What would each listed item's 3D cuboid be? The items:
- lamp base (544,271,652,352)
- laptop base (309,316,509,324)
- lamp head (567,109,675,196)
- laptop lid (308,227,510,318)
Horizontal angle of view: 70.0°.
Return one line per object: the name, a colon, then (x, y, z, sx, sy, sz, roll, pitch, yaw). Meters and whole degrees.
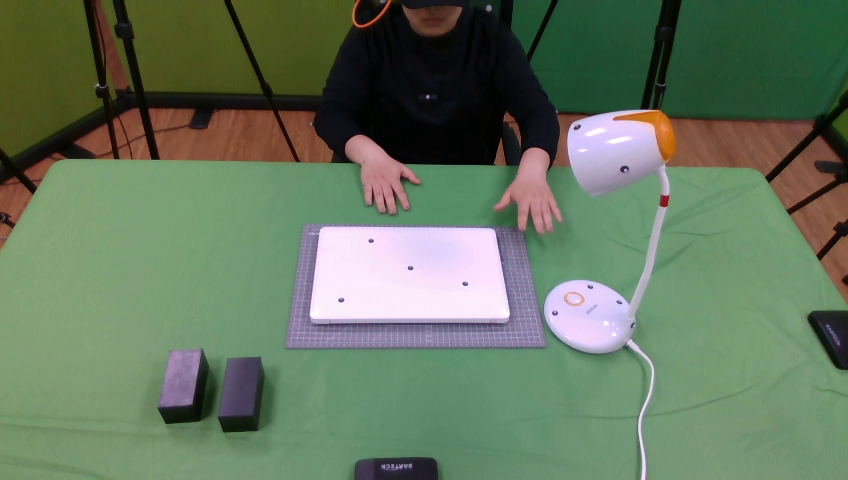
lamp base: (0.310, 0.086, 1.029, 0.178, 0.181, 0.160, 32, 52, 21)
laptop base: (-0.028, 0.064, 1.136, 0.355, 0.023, 0.234, 0, 43, -4)
lamp head: (0.272, -0.123, 0.818, 0.122, 0.113, 0.112, -9, 35, 37)
laptop lid: (-0.028, 0.055, 1.129, 0.357, 0.013, 0.240, 2, 44, -3)
